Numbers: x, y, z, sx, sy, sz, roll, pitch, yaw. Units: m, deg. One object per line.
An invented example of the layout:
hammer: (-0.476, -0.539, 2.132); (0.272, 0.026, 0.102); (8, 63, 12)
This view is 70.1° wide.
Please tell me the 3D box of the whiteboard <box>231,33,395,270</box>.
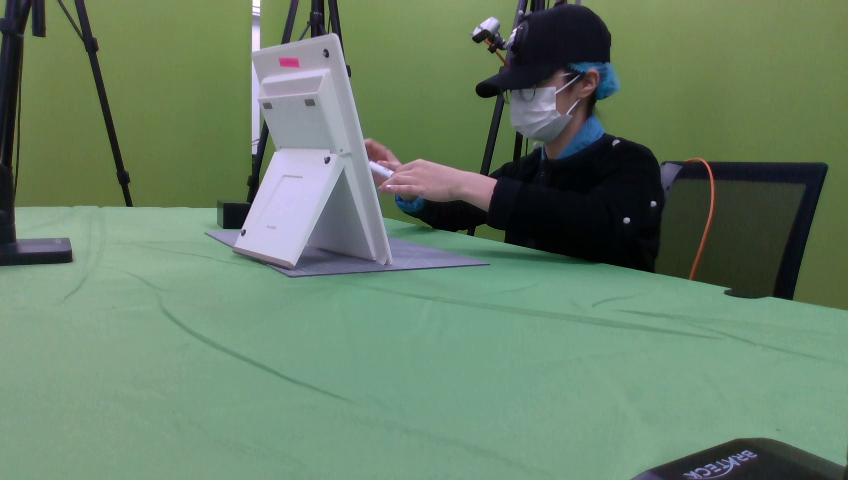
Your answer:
whiteboard: (-0.193, -0.094, 0.805); (0.144, 0.305, 0.216); (-28, 25, -35)

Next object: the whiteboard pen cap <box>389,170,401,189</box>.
whiteboard pen cap: (-0.049, -0.104, 1.038); (0.017, 0.017, 0.032); (4, 52, 11)

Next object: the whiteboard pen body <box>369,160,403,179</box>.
whiteboard pen body: (-0.080, -0.126, 1.077); (0.017, 0.017, 0.140); (-4, 21, -40)
